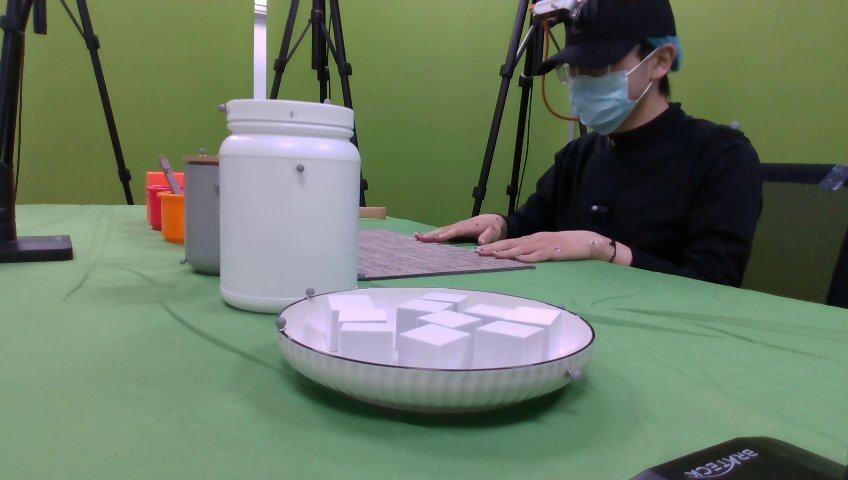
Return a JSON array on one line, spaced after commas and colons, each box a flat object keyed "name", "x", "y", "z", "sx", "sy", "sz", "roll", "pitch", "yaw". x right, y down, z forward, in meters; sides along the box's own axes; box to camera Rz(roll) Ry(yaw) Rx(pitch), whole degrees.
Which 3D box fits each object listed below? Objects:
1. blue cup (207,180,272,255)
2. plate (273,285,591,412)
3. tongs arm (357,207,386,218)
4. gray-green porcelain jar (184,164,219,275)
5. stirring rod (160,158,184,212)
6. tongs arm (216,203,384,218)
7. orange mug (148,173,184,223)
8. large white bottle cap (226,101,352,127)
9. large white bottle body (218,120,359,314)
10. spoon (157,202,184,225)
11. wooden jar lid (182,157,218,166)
[{"name": "blue cup", "x": -0.261, "y": -0.033, "z": 0.865, "sx": 0.093, "sy": 0.100, "sz": 0.092, "roll": 3, "pitch": 9, "yaw": 0}, {"name": "plate", "x": 0.005, "y": 0.069, "z": 0.408, "sx": 0.208, "sy": 0.039, "sz": 0.207, "roll": 2, "pitch": 7, "yaw": 0}, {"name": "tongs arm", "x": -0.251, "y": -0.063, "z": 1.360, "sx": 0.387, "sy": 0.026, "sz": 0.050, "roll": -1, "pitch": 3, "yaw": -31}, {"name": "gray-green porcelain jar", "x": -0.230, "y": -0.025, "z": 0.722, "sx": 0.106, "sy": 0.126, "sz": 0.106, "roll": 3, "pitch": 7, "yaw": 0}, {"name": "stirring rod", "x": -0.390, "y": -0.070, "z": 0.972, "sx": 0.014, "sy": 0.006, "sz": 0.175, "roll": -2, "pitch": 50, "yaw": -48}, {"name": "tongs arm", "x": -0.288, "y": -0.069, "z": 1.435, "sx": 0.389, "sy": 0.027, "sz": 0.028, "roll": 0, "pitch": -1, "yaw": -17}, {"name": "orange mug", "x": -0.490, "y": -0.087, "z": 1.222, "sx": 0.127, "sy": 0.101, "sz": 0.083, "roll": -9, "pitch": 13, "yaw": -38}, {"name": "large white bottle cap", "x": -0.125, "y": -0.116, "z": 0.566, "sx": 0.115, "sy": 0.018, "sz": 0.115, "roll": 2, "pitch": 7, "yaw": 0}, {"name": "large white bottle body", "x": -0.128, "y": -0.033, "z": 0.578, "sx": 0.131, "sy": 0.184, "sz": 0.130, "roll": 2, "pitch": 7, "yaw": 0}, {"name": "spoon", "x": -0.425, "y": -0.094, "z": 1.117, "sx": 0.041, "sy": 0.022, "sz": 0.194, "roll": 5, "pitch": 51, "yaw": 28}, {"name": "wooden jar lid", "x": -0.227, "y": -0.086, "z": 0.714, "sx": 0.108, "sy": 0.020, "sz": 0.108, "roll": 1, "pitch": 6, "yaw": 0}]
